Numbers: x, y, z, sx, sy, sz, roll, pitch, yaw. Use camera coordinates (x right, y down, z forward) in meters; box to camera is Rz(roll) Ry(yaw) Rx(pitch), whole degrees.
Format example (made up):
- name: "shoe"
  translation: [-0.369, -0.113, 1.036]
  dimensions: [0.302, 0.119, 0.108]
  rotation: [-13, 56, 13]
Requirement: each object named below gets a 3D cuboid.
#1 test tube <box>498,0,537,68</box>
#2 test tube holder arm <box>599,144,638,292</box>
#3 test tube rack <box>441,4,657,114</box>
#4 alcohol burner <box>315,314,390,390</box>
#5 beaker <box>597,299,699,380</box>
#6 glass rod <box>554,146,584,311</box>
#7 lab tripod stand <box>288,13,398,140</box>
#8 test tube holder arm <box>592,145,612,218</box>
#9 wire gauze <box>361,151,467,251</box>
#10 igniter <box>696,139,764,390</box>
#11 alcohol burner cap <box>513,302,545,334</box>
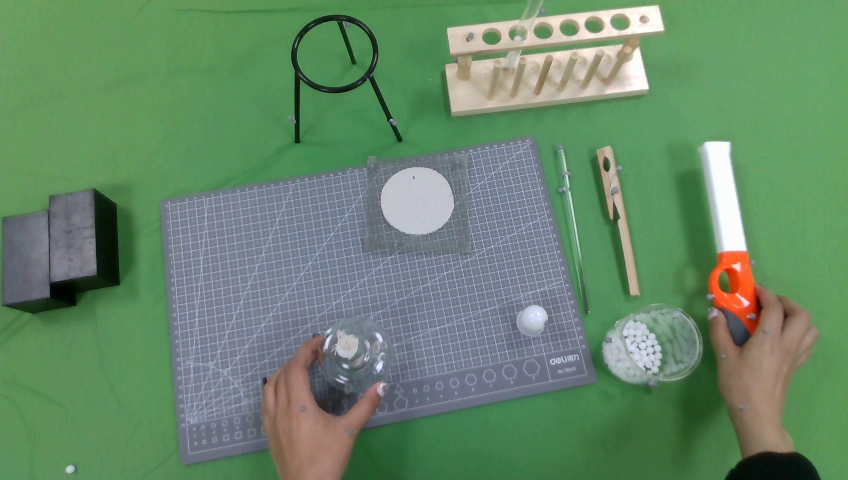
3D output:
- name: "test tube"
  translation: [0.105, -0.235, 0.674]
  dimensions: [0.017, 0.151, 0.017]
  rotation: [1, 75, -5]
- name: "test tube holder arm"
  translation: [0.224, -0.027, 0.702]
  dimensions: [0.013, 0.015, 0.177]
  rotation: [-18, 73, 30]
- name: "test tube rack"
  translation: [0.145, -0.212, 0.719]
  dimensions: [0.242, 0.085, 0.066]
  rotation: [-7, 74, -2]
- name: "alcohol burner"
  translation: [-0.075, 0.110, 0.611]
  dimensions: [0.078, 0.120, 0.077]
  rotation: [0, 73, 2]
- name: "beaker"
  translation: [0.222, 0.105, 0.625]
  dimensions: [0.084, 0.101, 0.073]
  rotation: [20, 74, 7]
- name: "glass rod"
  translation: [0.168, -0.016, 0.704]
  dimensions: [0.008, 0.008, 0.198]
  rotation: [-5, 77, -2]
- name: "lab tripod stand"
  translation: [-0.098, -0.174, 0.683]
  dimensions: [0.148, 0.132, 0.147]
  rotation: [0, 76, 0]
- name: "test tube holder arm"
  translation: [0.213, -0.069, 0.716]
  dimensions: [0.010, 0.015, 0.087]
  rotation: [-17, 73, 31]
- name: "wire gauze"
  translation: [-0.012, -0.047, 0.710]
  dimensions: [0.125, 0.011, 0.121]
  rotation: [1, 75, -1]
- name: "igniter"
  translation: [0.332, 0.022, 0.659]
  dimensions: [0.057, 0.025, 0.275]
  rotation: [-1, 77, -6]
- name: "alcohol burner cap"
  translation: [0.116, 0.082, 0.657]
  dimensions: [0.034, 0.048, 0.033]
  rotation: [0, 74, 0]
